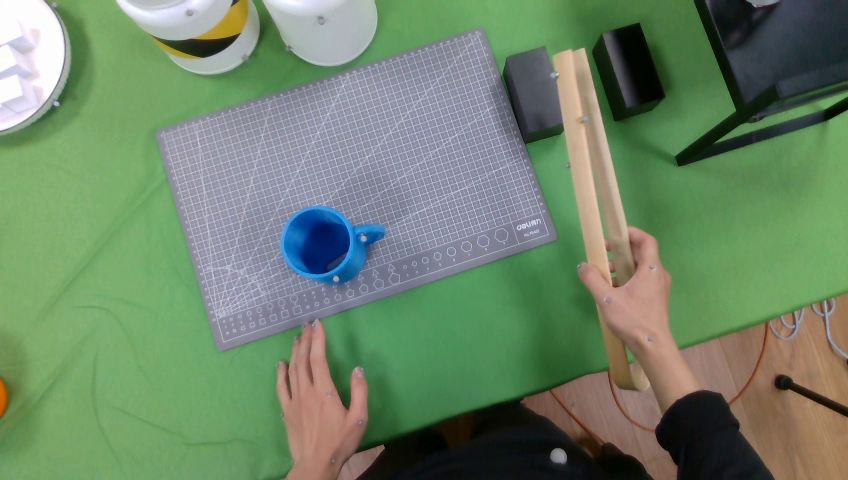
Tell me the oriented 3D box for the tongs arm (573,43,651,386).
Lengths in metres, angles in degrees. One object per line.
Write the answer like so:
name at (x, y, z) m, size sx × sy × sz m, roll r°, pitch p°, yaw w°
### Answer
tongs arm at (0.209, -0.022, 0.678) m, size 0.027 × 0.028 × 0.388 m, roll -6°, pitch 101°, yaw 41°

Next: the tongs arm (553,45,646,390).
tongs arm at (0.193, -0.016, 0.662) m, size 0.026 × 0.051 × 0.385 m, roll -5°, pitch 97°, yaw 44°

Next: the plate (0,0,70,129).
plate at (-0.560, -0.240, 0.788) m, size 0.208 × 0.039 × 0.207 m, roll 0°, pitch 84°, yaw 1°

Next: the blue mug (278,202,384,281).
blue mug at (-0.103, 0.000, 0.719) m, size 0.116 × 0.106 × 0.082 m, roll -17°, pitch 83°, yaw -2°

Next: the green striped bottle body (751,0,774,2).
green striped bottle body at (0.342, -0.279, 0.561) m, size 0.063 × 0.119 × 0.063 m, roll 0°, pitch 83°, yaw 1°

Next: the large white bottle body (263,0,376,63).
large white bottle body at (-0.130, -0.306, 0.717) m, size 0.130 × 0.185 × 0.130 m, roll 0°, pitch 83°, yaw 1°

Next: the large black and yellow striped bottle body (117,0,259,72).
large black and yellow striped bottle body at (-0.284, -0.294, 0.718) m, size 0.131 × 0.184 × 0.130 m, roll 0°, pitch 83°, yaw 1°

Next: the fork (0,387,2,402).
fork at (-0.603, 0.183, 0.683) m, size 0.209 × 0.018 × 0.028 m, roll 7°, pitch 78°, yaw -42°

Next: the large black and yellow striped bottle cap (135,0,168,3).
large black and yellow striped bottle cap at (-0.287, -0.307, 0.635) m, size 0.115 × 0.019 × 0.114 m, roll 0°, pitch 84°, yaw -1°
